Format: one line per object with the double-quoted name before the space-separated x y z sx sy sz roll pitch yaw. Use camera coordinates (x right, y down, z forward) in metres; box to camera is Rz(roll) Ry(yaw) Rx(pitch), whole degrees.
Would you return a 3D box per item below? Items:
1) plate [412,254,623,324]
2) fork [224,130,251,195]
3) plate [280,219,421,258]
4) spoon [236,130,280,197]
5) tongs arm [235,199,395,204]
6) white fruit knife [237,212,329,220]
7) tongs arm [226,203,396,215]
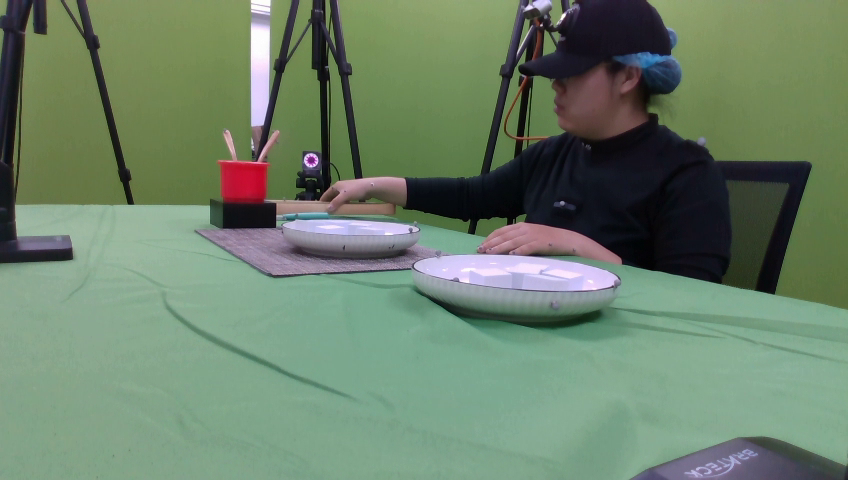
"plate" 0.090 0.047 0.609 0.209 0.038 0.209 2 7 0
"fork" -0.372 -0.155 1.193 0.028 0.018 0.206 -17 54 -13
"plate" -0.108 -0.002 0.902 0.208 0.039 0.207 3 7 0
"spoon" -0.321 -0.154 1.192 0.041 0.193 0.022 0 -37 19
"tongs arm" -0.262 -0.081 1.458 0.386 0.026 0.050 1 6 -7
"white fruit knife" -0.304 -0.050 1.328 0.208 0.016 0.027 -3 -19 -29
"tongs arm" -0.251 -0.071 1.392 0.389 0.028 0.028 0 3 -16
